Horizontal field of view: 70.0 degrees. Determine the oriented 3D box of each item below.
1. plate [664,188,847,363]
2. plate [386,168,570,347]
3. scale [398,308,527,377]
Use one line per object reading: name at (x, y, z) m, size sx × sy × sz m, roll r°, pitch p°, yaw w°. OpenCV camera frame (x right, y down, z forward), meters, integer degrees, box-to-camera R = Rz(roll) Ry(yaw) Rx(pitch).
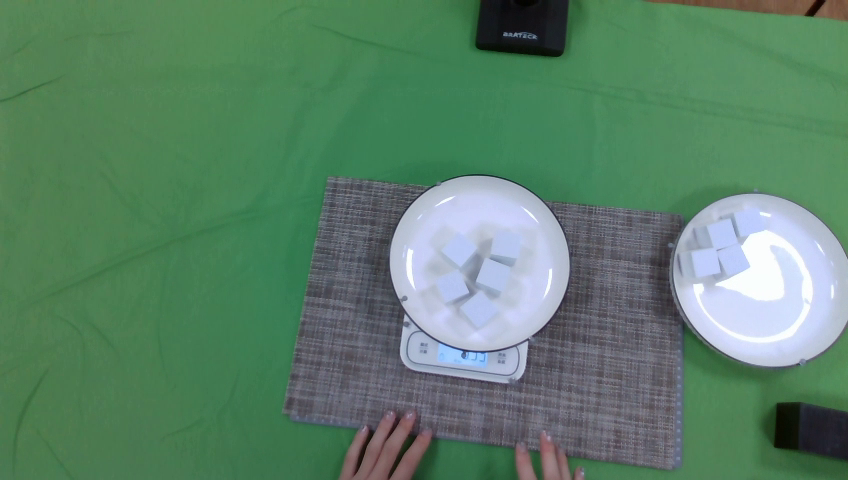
plate at (0.386, 0.041, 0.716) m, size 0.207 × 0.039 × 0.206 m, roll 0°, pitch 76°, yaw 2°
plate at (0.061, 0.019, 0.698) m, size 0.209 × 0.038 × 0.208 m, roll 0°, pitch 76°, yaw 2°
scale at (0.053, 0.055, 0.724) m, size 0.148 × 0.032 × 0.200 m, roll 7°, pitch 76°, yaw 4°
